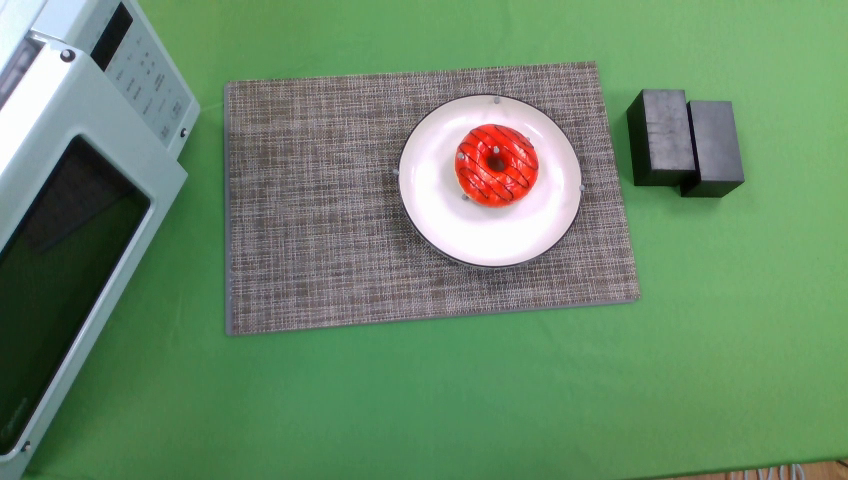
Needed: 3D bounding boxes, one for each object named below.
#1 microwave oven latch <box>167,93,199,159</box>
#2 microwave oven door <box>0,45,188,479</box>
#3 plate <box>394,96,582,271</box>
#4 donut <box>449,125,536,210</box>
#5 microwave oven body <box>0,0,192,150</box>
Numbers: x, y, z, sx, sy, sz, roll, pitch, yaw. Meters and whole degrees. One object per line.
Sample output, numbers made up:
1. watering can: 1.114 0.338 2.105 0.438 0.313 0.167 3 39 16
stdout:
1. microwave oven latch: -0.277 -0.126 0.669 0.030 0.029 0.079 19 75 1
2. microwave oven door: -0.336 0.046 0.512 0.039 0.245 0.354 22 74 4
3. plate: 0.072 -0.063 0.687 0.209 0.038 0.208 1 74 -3
4. donut: 0.077 -0.081 0.681 0.099 0.048 0.098 1 76 -5
5. microwave oven body: -0.470 -0.042 0.533 0.326 0.261 0.440 19 75 1
